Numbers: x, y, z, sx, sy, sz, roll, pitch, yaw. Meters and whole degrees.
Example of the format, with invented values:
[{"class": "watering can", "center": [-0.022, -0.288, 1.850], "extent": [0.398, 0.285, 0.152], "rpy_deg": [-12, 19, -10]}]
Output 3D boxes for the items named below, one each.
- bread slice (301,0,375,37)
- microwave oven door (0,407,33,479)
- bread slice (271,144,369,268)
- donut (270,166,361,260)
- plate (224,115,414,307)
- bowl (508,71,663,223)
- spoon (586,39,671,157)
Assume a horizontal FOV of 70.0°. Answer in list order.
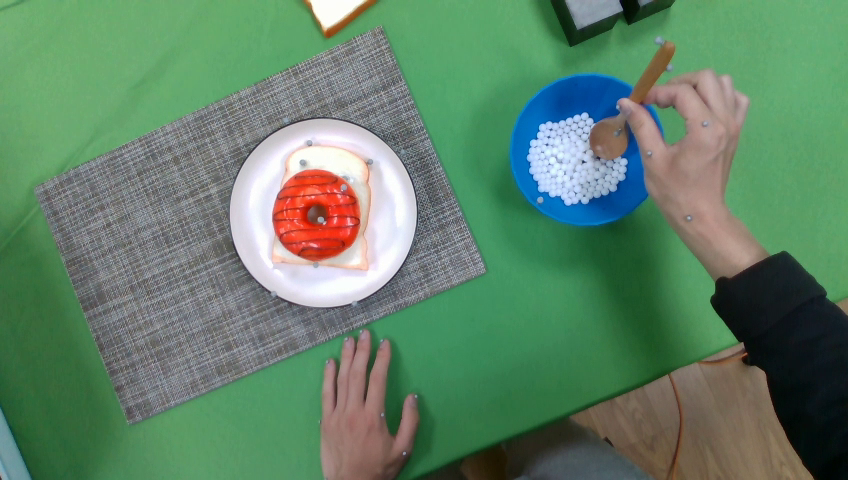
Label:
[{"class": "bread slice", "center": [-0.110, -0.311, 0.682], "extent": [0.105, 0.019, 0.131], "rpy_deg": [-38, 88, 2]}, {"class": "microwave oven door", "center": [-0.515, 0.189, 0.581], "extent": [0.039, 0.244, 0.355], "rpy_deg": [-26, 87, 4]}, {"class": "bread slice", "center": [-0.113, -0.038, 0.667], "extent": [0.107, 0.018, 0.134], "rpy_deg": [2, 90, 4]}, {"class": "donut", "center": [-0.114, -0.029, 0.639], "extent": [0.099, 0.048, 0.099], "rpy_deg": [0, 90, 5]}, {"class": "plate", "center": [-0.113, -0.030, 0.667], "extent": [0.207, 0.039, 0.207], "rpy_deg": [0, 90, 4]}, {"class": "bowl", "center": [0.160, -0.090, 0.630], "extent": [0.151, 0.077, 0.151], "rpy_deg": [0, 89, 4]}, {"class": "spoon", "center": [0.182, -0.120, 0.545], "extent": [0.041, 0.194, 0.021], "rpy_deg": [44, 83, 10]}]
